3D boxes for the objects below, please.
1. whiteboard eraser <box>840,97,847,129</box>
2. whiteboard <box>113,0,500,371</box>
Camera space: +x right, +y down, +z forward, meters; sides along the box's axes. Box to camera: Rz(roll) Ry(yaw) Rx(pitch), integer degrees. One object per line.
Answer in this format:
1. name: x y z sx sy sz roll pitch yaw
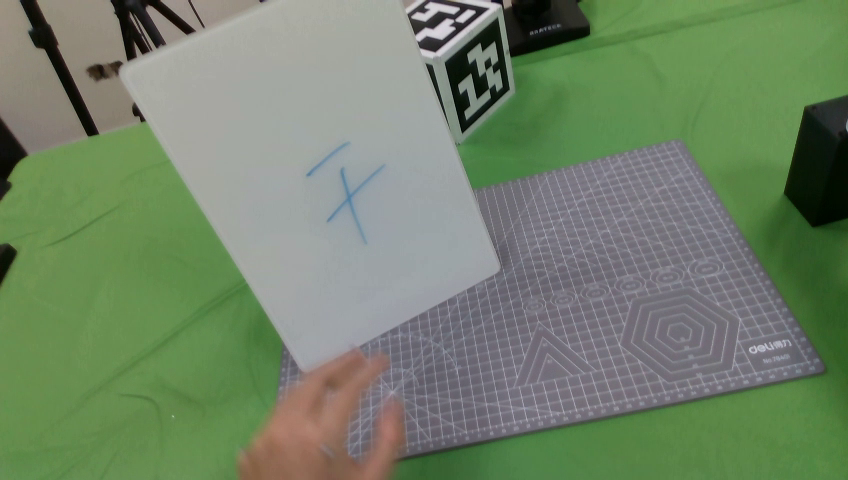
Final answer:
1. whiteboard eraser: 0.352 -0.079 0.451 0.041 0.019 0.100 -13 46 3
2. whiteboard: -0.094 -0.075 0.573 0.217 0.308 0.142 -28 27 -7
